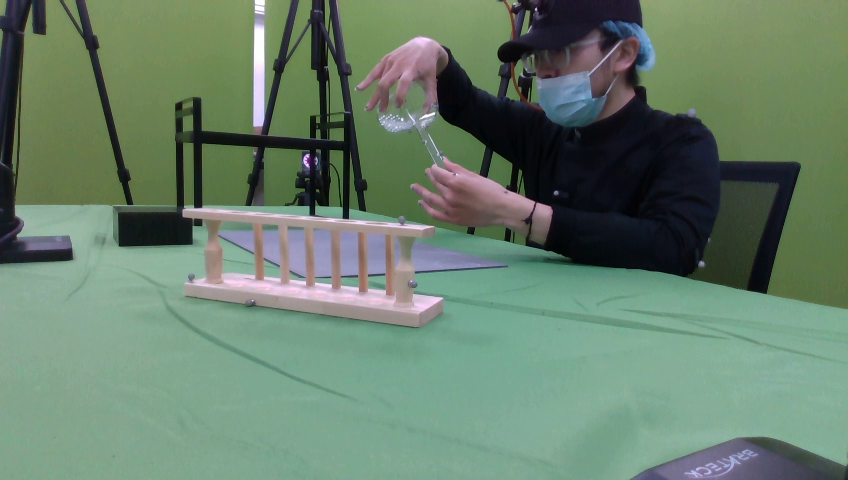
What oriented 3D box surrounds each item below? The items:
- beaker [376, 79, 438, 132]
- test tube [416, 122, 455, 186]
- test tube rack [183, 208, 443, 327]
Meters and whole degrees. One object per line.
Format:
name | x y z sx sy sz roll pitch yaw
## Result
beaker | -0.033 -0.232 1.076 0.074 0.084 0.100 4 -4 -36
test tube | 0.018 -0.143 0.995 0.017 0.017 0.150 -2 49 -29
test tube rack | -0.106 0.019 0.570 0.241 0.085 0.067 5 8 19
